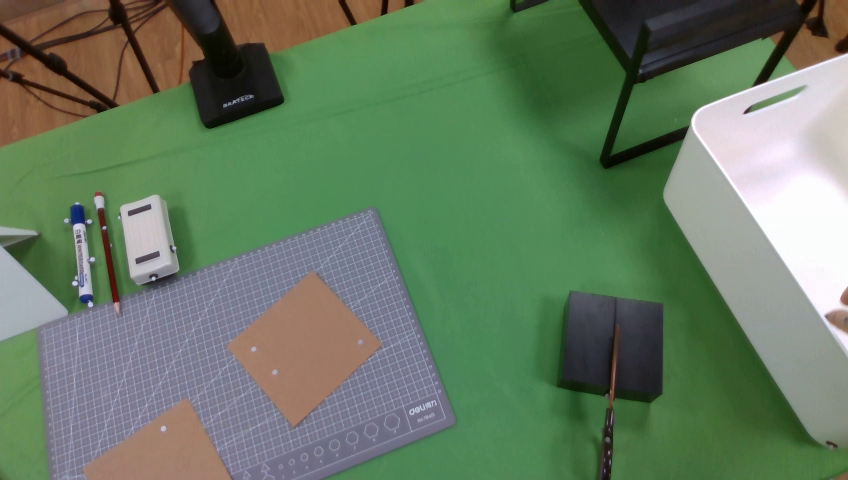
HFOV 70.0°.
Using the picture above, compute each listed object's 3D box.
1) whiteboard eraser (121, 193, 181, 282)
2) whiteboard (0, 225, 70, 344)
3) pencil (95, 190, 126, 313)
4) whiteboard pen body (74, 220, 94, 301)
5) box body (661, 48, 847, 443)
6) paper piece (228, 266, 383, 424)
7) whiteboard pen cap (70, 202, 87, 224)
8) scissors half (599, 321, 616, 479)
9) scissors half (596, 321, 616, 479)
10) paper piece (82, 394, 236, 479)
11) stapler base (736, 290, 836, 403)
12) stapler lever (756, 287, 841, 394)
[{"bbox_3d":[-0.351,-0.002,0.781,0.055,0.042,0.111,-21,66,-4],"label":"whiteboard eraser"},{"bbox_3d":[-0.595,-0.012,0.694,0.217,0.309,0.142,-20,46,-4],"label":"whiteboard"},{"bbox_3d":[-0.411,0.012,0.796,0.012,0.012,0.192,-23,66,-6],"label":"pencil"},{"bbox_3d":[-0.447,0.016,0.794,0.017,0.017,0.139,-20,65,-4],"label":"whiteboard pen body"},{"bbox_3d":[0.455,0.003,0.641,0.254,0.161,0.360,-21,65,-4],"label":"box body"},{"bbox_3d":[-0.143,0.121,0.722,0.136,0.009,0.137,-43,71,-9],"label":"paper piece"},{"bbox_3d":[-0.466,-0.034,0.817,0.018,0.018,0.033,-22,64,-5],"label":"whiteboard pen cap"},{"bbox_3d":[0.189,0.167,0.614,0.013,0.040,0.174,5,69,11],"label":"scissors half"},{"bbox_3d":[0.192,0.172,0.634,0.013,0.040,0.175,6,86,6],"label":"scissors half"},{"bbox_3d":[-0.291,0.263,0.669,0.135,0.004,0.134,-34,68,-11],"label":"paper piece"},{"bbox_3d":[0.400,0.112,0.668,0.041,0.024,0.129,-26,68,-2],"label":"stapler base"},{"bbox_3d":[0.398,0.103,0.644,0.027,0.040,0.117,-26,69,-2],"label":"stapler lever"}]
